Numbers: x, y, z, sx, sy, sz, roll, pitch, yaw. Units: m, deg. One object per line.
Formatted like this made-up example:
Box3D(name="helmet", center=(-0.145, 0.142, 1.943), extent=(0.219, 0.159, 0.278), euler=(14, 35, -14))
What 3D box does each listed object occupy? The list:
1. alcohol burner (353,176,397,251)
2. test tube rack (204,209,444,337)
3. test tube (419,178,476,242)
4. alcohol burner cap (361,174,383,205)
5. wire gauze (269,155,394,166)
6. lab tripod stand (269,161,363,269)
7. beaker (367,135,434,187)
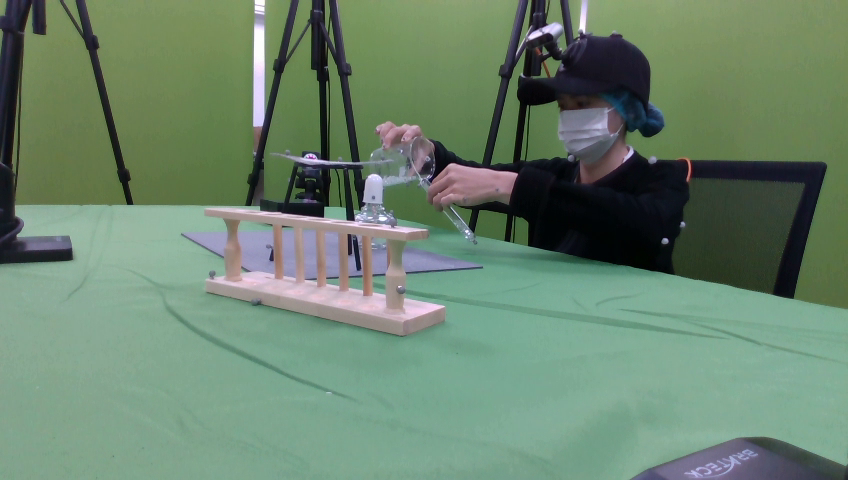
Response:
Box3D(name="alcohol burner", center=(-0.082, -0.043, 0.950), extent=(0.078, 0.119, 0.078), euler=(1, 8, 0))
Box3D(name="test tube rack", center=(-0.100, 0.021, 0.565), extent=(0.241, 0.085, 0.067), euler=(7, 9, 32))
Box3D(name="test tube", center=(0.038, -0.050, 0.999), extent=(0.017, 0.017, 0.149), euler=(-5, 47, -46))
Box3D(name="alcohol burner cap", center=(-0.080, -0.078, 0.945), extent=(0.034, 0.048, 0.034), euler=(5, 8, 0))
Box3D(name="wire gauze", center=(-0.121, -0.102, 0.785), extent=(0.122, 0.011, 0.124), euler=(-3, 10, -39))
Box3D(name="lab tripod stand", center=(-0.125, -0.036, 0.794), extent=(0.148, 0.131, 0.148), euler=(5, 7, 0))
Box3D(name="beaker", center=(-0.043, -0.133, 1.064), extent=(0.100, 0.084, 0.074), euler=(-7, -5, 34))
